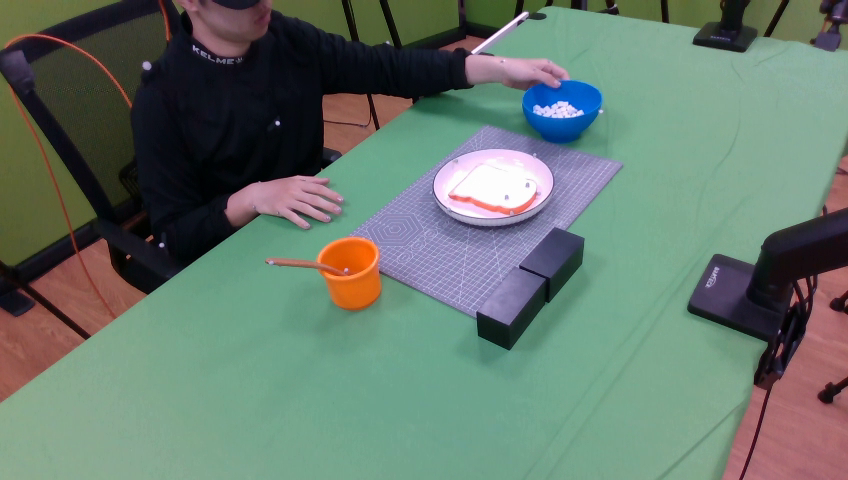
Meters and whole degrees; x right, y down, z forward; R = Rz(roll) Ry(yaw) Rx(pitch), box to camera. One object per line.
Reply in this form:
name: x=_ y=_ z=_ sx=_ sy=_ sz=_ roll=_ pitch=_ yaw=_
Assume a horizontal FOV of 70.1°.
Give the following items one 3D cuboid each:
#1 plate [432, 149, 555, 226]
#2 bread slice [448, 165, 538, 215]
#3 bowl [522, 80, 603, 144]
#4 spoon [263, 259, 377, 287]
plate: x=0.120 y=-0.087 z=1.037 sx=0.209 sy=0.038 sz=0.208 roll=-4 pitch=40 yaw=4
bread slice: x=0.126 y=-0.085 z=1.037 sx=0.133 sy=0.018 sz=0.107 roll=16 pitch=45 yaw=27
bowl: x=0.264 y=-0.238 z=1.166 sx=0.151 sy=0.077 sz=0.150 roll=-4 pitch=41 yaw=4
spoon: x=-0.140 y=0.042 z=0.843 sx=0.041 sy=0.195 sz=0.021 roll=35 pitch=101 yaw=41
